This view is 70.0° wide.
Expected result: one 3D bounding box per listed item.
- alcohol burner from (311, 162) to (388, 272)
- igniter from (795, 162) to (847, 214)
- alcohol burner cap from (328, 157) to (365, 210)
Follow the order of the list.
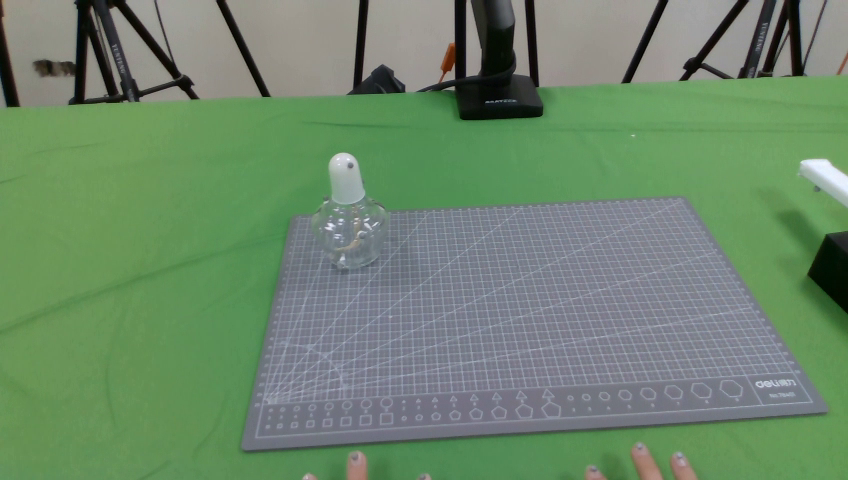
[{"bbox_3d":[-0.074,-0.027,0.591,0.078,0.120,0.077,0,39,0],"label":"alcohol burner"},{"bbox_3d":[0.431,-0.003,0.544,0.057,0.025,0.273,-4,33,-4],"label":"igniter"},{"bbox_3d":[-0.074,-0.056,0.570,0.034,0.048,0.033,-2,39,2],"label":"alcohol burner cap"}]
